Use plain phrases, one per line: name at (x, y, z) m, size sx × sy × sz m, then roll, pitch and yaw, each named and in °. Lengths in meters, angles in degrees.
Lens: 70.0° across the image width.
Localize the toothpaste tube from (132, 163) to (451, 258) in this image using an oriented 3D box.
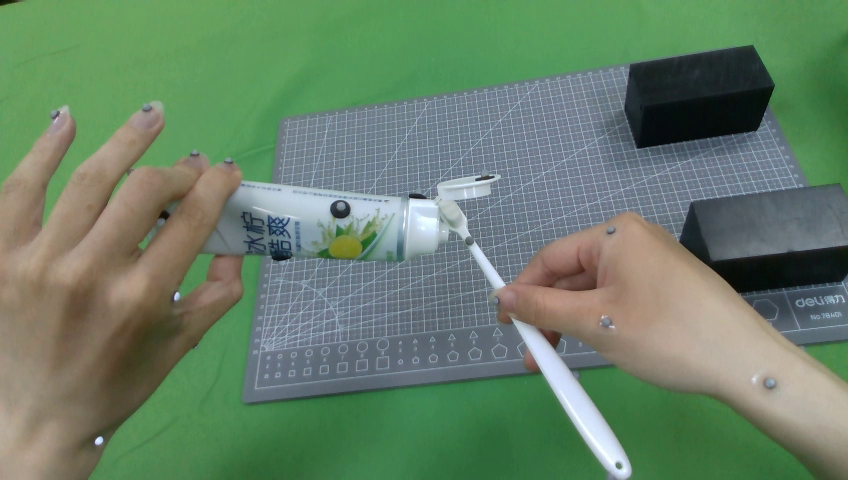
toothpaste tube at (-0.068, -0.013, 0.324) m, size 0.165 × 0.055 × 0.034 m, roll 3°, pitch 32°, yaw -1°

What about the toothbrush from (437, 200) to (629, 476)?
toothbrush at (0.053, 0.042, 0.327) m, size 0.014 × 0.017 × 0.180 m, roll -29°, pitch 66°, yaw -7°

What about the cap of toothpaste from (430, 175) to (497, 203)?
cap of toothpaste at (0.022, -0.028, 0.323) m, size 0.037 × 0.037 × 0.011 m, roll -10°, pitch 99°, yaw 5°
